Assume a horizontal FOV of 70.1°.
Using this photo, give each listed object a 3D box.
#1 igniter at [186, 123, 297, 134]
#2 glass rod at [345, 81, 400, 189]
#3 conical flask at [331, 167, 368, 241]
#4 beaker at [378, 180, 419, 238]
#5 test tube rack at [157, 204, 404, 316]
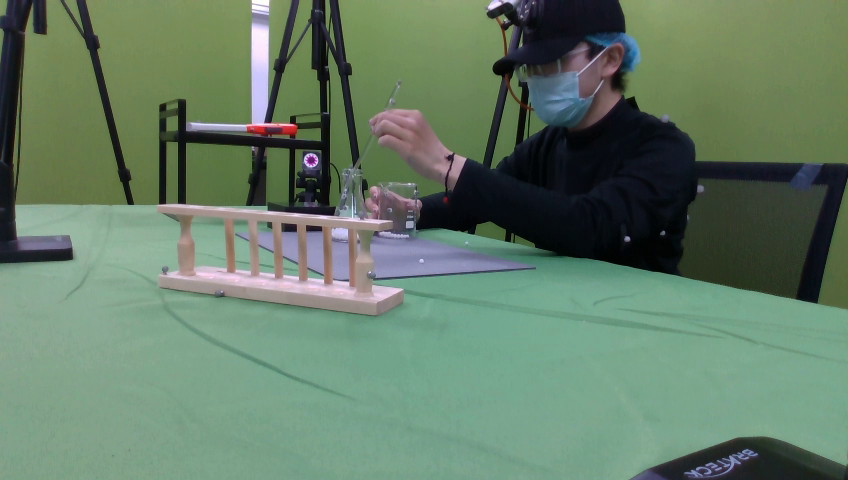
[{"bbox_3d":[-0.392,-0.248,1.341,0.057,0.025,0.278,9,14,38],"label":"igniter"},{"bbox_3d":[-0.085,-0.170,0.993,0.008,0.199,0.008,26,16,-8],"label":"glass rod"},{"bbox_3d":[-0.123,-0.061,1.019,0.075,0.122,0.075,2,7,0],"label":"conical flask"},{"bbox_3d":[-0.049,-0.056,1.089,0.073,0.100,0.084,7,9,31],"label":"beaker"},{"bbox_3d":[-0.143,0.013,0.599,0.242,0.085,0.067,5,8,19],"label":"test tube rack"}]
